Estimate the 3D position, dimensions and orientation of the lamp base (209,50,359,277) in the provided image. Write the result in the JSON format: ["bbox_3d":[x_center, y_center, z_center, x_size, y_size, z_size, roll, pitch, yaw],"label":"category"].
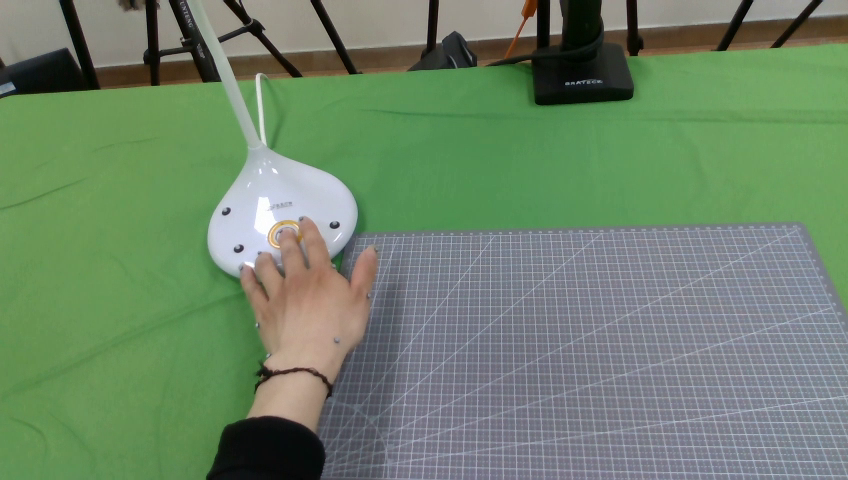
[{"bbox_3d":[-0.163,-0.082,0.600,0.161,0.182,0.177,-23,46,-13],"label":"lamp base"}]
